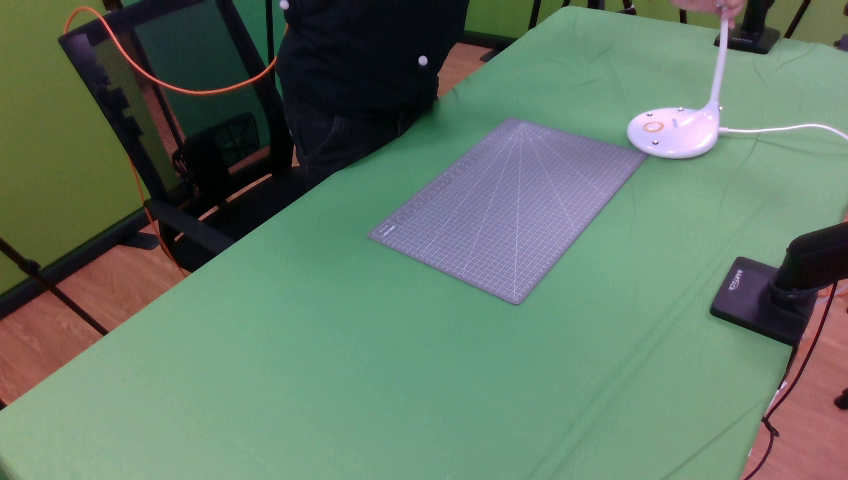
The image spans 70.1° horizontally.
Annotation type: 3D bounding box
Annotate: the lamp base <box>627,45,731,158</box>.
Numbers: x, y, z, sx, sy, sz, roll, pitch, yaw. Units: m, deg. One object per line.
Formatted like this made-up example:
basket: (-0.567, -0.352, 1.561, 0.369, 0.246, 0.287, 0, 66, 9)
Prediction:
lamp base: (0.469, -0.262, 1.085, 0.179, 0.181, 0.159, -4, 41, 0)
